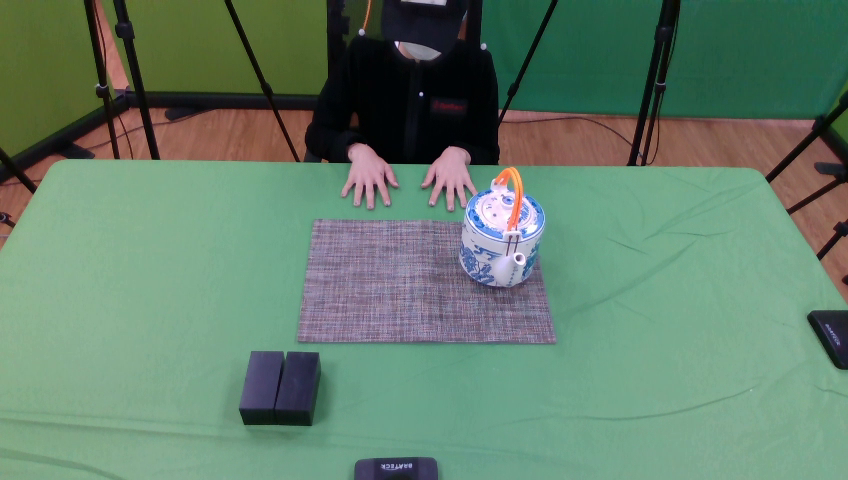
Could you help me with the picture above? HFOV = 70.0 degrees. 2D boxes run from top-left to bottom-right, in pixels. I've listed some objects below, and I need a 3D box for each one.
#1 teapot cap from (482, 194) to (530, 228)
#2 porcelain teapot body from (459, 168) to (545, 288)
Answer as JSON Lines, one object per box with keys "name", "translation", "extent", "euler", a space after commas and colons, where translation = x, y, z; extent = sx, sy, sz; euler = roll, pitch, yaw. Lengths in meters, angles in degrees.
{"name": "teapot cap", "translation": [0.145, -0.055, 1.062], "extent": [0.085, 0.044, 0.084], "euler": [3, 47, -3]}
{"name": "porcelain teapot body", "translation": [0.146, -0.006, 1.070], "extent": [0.145, 0.226, 0.204], "euler": [-4, 46, -8]}
